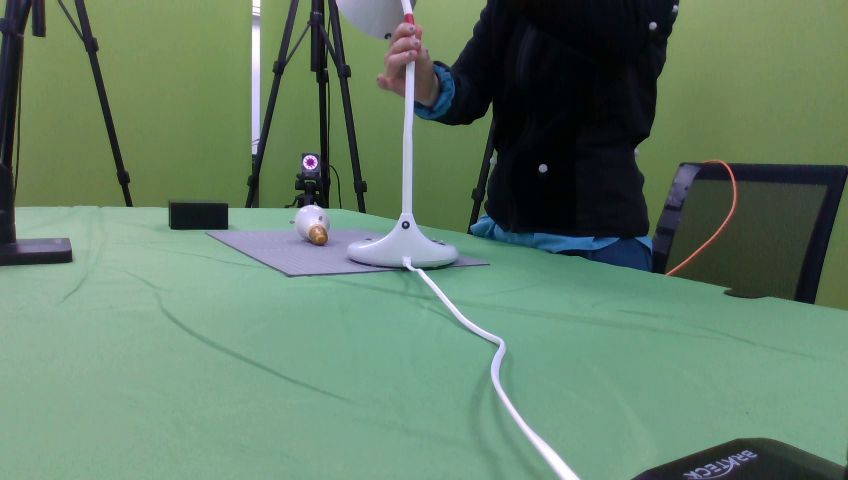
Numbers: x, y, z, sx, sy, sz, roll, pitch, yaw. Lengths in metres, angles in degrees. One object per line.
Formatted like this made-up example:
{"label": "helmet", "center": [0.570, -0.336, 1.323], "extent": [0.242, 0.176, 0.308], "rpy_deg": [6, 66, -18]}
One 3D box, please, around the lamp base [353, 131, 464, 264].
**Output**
{"label": "lamp base", "center": [-0.014, -0.062, 0.851], "extent": [0.161, 0.180, 0.178], "rpy_deg": [-1, 11, -20]}
